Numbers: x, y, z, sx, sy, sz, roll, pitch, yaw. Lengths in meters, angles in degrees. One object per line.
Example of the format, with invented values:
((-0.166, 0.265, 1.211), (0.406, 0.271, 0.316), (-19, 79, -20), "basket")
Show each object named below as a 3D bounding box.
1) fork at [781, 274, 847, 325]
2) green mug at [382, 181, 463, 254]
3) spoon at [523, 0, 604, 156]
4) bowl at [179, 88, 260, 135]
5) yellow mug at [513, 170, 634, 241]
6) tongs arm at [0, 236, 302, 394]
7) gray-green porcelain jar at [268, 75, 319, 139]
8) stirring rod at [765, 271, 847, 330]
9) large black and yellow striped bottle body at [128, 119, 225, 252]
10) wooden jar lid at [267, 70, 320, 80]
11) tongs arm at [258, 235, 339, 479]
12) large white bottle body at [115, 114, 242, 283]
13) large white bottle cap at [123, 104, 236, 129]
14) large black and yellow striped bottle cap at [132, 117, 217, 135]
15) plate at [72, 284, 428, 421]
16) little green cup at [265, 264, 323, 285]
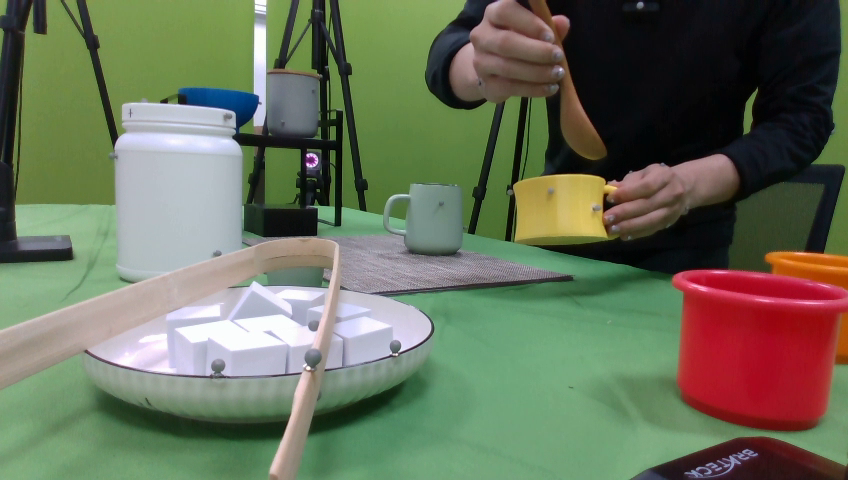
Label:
((0.332, 0.018, 0.443), (0.028, 0.018, 0.207), (-3, -35, -16), "fork")
((-0.001, -0.036, 0.922), (0.126, 0.105, 0.092), (0, 8, -16), "green mug")
((0.106, -0.149, 0.499), (0.022, 0.194, 0.041), (-36, 26, -17), "spoon")
((-0.400, -0.248, 1.188), (0.151, 0.077, 0.151), (3, 6, 0), "bowl")
((0.163, -0.035, 0.661), (0.131, 0.064, 0.100), (0, -6, 1), "yellow mug")
((-0.157, 0.038, 0.347), (0.028, 0.028, 0.388), (-3, 8, 11), "tongs arm")
((-0.277, -0.278, 1.280), (0.106, 0.126, 0.106), (2, 8, 0), "gray-green porcelain jar")
((0.352, 0.020, 0.481), (0.176, 0.006, 0.014), (-40, -7, 17), "stirring rod")
((-0.361, -0.081, 0.887), (0.131, 0.184, 0.130), (2, 8, 0), "large black and yellow striped bottle body")
((-0.275, -0.339, 1.271), (0.108, 0.020, 0.108), (5, 6, 0), "wooden jar lid")
((-0.074, 0.040, 0.345), (0.051, 0.026, 0.384), (-2, 10, -3), "tongs arm")
((-0.270, -0.051, 0.673), (0.131, 0.184, 0.130), (2, 8, 0), "large white bottle body")
((-0.266, -0.135, 0.663), (0.115, 0.018, 0.115), (3, 7, 0), "large white bottle cap")
((-0.359, -0.164, 0.875), (0.115, 0.019, 0.115), (2, 6, 0), "large black and yellow striped bottle cap")
((-0.102, 0.066, 0.381), (0.208, 0.039, 0.207), (2, 7, 0), "plate")
((-0.134, 0.034, 0.628), (0.061, 0.038, 0.061), (3, 7, 0), "little green cup")
